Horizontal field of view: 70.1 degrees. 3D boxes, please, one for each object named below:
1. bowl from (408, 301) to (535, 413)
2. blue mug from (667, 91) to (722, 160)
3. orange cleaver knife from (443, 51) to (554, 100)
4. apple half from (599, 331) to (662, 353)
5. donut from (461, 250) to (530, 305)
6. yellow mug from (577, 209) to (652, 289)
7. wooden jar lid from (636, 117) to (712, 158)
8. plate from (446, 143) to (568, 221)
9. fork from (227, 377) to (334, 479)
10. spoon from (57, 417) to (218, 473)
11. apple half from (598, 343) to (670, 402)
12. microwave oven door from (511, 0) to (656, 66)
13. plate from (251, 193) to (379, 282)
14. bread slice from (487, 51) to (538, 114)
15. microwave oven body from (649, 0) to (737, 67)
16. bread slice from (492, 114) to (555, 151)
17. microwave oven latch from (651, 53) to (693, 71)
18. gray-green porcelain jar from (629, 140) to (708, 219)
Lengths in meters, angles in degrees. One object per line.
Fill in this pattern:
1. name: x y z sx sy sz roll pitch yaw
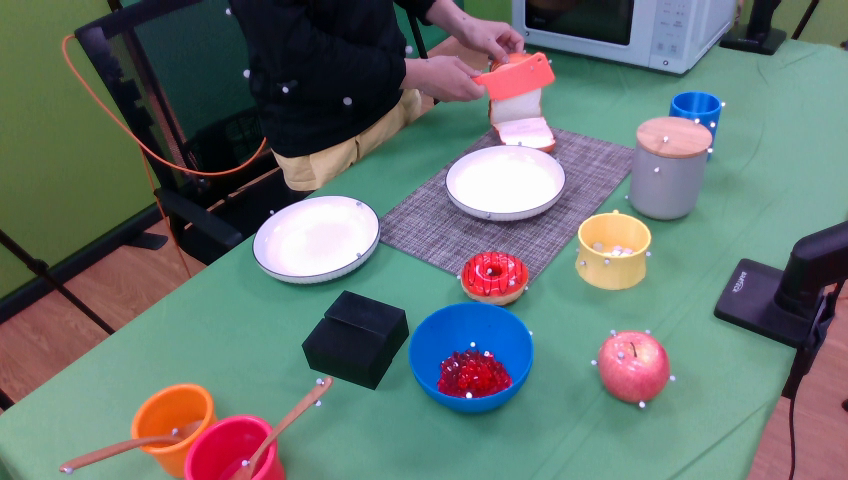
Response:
1. bowl: 0.060 0.156 0.739 0.151 0.077 0.150 -4 40 4
2. blue mug: 0.474 -0.207 1.079 0.082 0.106 0.116 4 42 13
3. orange cleaver knife: 0.145 -0.309 1.172 0.211 0.077 0.012 -12 41 8
4. apple half: 0.249 0.134 0.738 0.081 0.081 0.032 -2 46 7
5. donut: 0.103 0.053 0.872 0.099 0.048 0.098 -4 40 4
6. yellow mug: 0.279 0.004 0.893 0.099 0.064 0.130 5 41 15
7. wooden jar lid: 0.377 -0.151 0.917 0.108 0.021 0.108 -2 41 3
8. plate: 0.142 -0.097 1.045 0.207 0.039 0.206 -4 40 4
9. fork: -0.162 0.216 0.647 0.207 0.019 0.028 -49 41 16
10. spoon: -0.304 0.221 0.661 0.041 0.195 0.021 19 92 27
11. apple half: 0.247 0.161 0.710 0.081 0.075 0.053 2 47 5
12. microwave oven door: 0.351 -0.540 1.349 0.353 0.245 0.039 24 50 31
13. plate: -0.174 -0.001 0.984 0.209 0.038 0.208 -4 40 4
14. bread slice: 0.183 -0.317 1.230 0.107 0.135 0.018 -4 43 1
15. microwave oven body: 0.475 -0.602 1.411 0.438 0.261 0.327 23 50 32
16. bread slice: 0.194 -0.204 1.169 0.105 0.019 0.131 -6 37 -2
17. microwave oven latch: 0.532 -0.386 1.301 0.078 0.029 0.030 26 52 34
18. gray-green porcelain jar: 0.383 -0.105 0.958 0.106 0.127 0.105 -4 41 4
